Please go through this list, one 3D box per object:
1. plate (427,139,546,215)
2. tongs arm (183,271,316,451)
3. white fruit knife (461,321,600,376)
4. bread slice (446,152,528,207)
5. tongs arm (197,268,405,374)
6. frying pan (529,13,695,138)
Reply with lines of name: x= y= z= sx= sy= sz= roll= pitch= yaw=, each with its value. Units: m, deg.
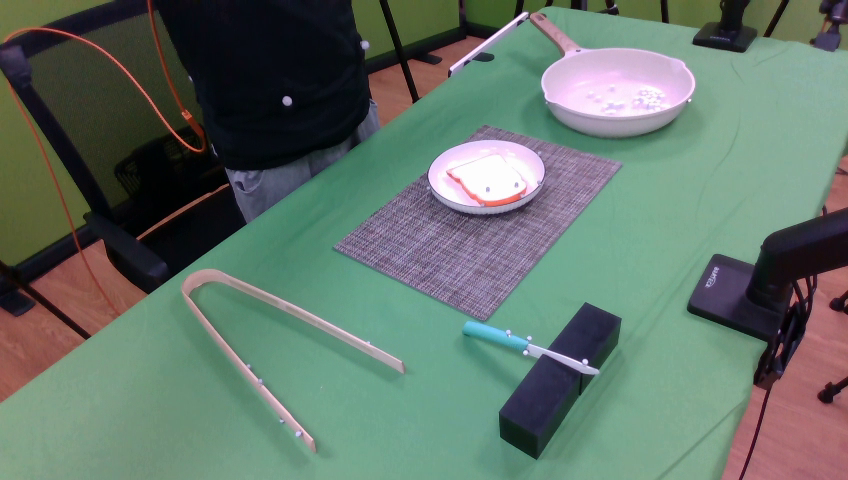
plate: x=0.109 y=-0.107 z=1.058 sx=0.207 sy=0.039 sz=0.206 roll=-4 pitch=40 yaw=4
tongs arm: x=-0.241 y=0.147 z=0.820 sx=0.051 sy=0.026 sz=0.381 roll=-34 pitch=46 yaw=-30
white fruit knife: x=0.125 y=0.133 z=0.751 sx=0.205 sy=0.027 sz=0.016 roll=12 pitch=42 yaw=42
bread slice: x=0.118 y=-0.104 z=1.057 sx=0.107 sy=0.018 sz=0.133 roll=-24 pitch=42 yaw=-17
tongs arm: x=-0.187 y=0.108 z=0.865 sx=0.385 sy=0.028 sz=0.028 roll=20 pitch=49 yaw=28
frying pan: x=0.348 y=-0.368 z=1.282 sx=0.308 sy=0.103 sz=0.484 roll=-16 pitch=50 yaw=-12
